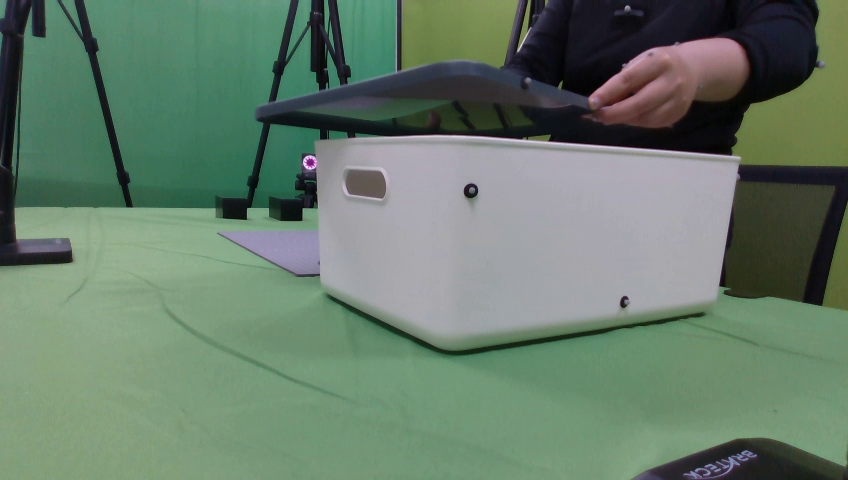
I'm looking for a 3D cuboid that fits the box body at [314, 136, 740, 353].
[{"bbox_3d":[0.098,-0.012,0.606,0.366,0.160,0.253,-2,8,-33],"label":"box body"}]

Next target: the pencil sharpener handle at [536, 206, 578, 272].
[{"bbox_3d":[0.139,-0.001,0.617,0.031,0.067,0.036,0,-11,-35],"label":"pencil sharpener handle"}]

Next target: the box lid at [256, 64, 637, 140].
[{"bbox_3d":[0.040,-0.129,0.642,0.262,0.015,0.373,-1,3,38],"label":"box lid"}]

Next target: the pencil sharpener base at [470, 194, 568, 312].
[{"bbox_3d":[0.094,0.011,0.592,0.077,0.107,0.061,0,6,-35],"label":"pencil sharpener base"}]
